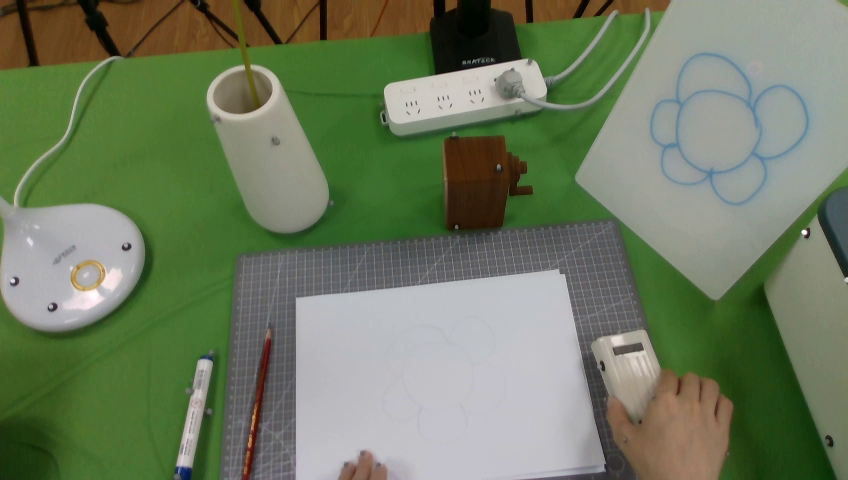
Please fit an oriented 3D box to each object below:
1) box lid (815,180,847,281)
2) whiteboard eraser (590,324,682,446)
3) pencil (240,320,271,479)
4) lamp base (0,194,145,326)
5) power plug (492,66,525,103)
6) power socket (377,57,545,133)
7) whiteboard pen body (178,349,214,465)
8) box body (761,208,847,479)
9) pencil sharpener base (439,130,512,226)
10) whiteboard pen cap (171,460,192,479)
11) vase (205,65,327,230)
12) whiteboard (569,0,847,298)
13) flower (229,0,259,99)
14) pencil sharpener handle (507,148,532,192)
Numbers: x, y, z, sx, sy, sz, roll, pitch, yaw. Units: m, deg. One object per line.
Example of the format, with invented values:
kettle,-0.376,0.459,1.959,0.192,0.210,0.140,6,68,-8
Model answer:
box lid,0.494,0.094,0.466,0.263,0.015,0.368,-6,61,-2
whiteboard eraser,0.208,0.142,0.601,0.056,0.042,0.111,-7,60,-9
pencil,-0.171,0.171,0.617,0.012,0.012,0.192,0,60,3
lamp base,-0.418,-0.018,0.633,0.178,0.182,0.160,24,64,17
power plug,0.105,-0.187,0.766,0.035,0.053,0.072,-2,63,2
power socket,0.050,-0.191,0.796,0.227,0.033,0.071,-11,62,-4
whiteboard pen body,-0.231,0.177,0.610,0.017,0.017,0.139,-2,58,2
box body,0.497,0.132,0.531,0.254,0.162,0.360,-6,61,-1
pencil sharpener base,0.057,-0.068,0.686,0.077,0.108,0.061,-3,61,0
whiteboard pen cap,-0.232,0.227,0.579,0.018,0.018,0.033,-1,56,2
vase,-0.169,-0.093,0.656,0.098,0.201,0.097,-2,61,3
whiteboard,0.331,-0.129,0.633,0.144,0.307,0.215,-26,61,-33
flower,-0.167,-0.150,0.593,0.038,0.365,0.043,-16,43,-14
pencil sharpener handle,0.108,-0.077,0.676,0.030,0.068,0.035,-3,60,0
